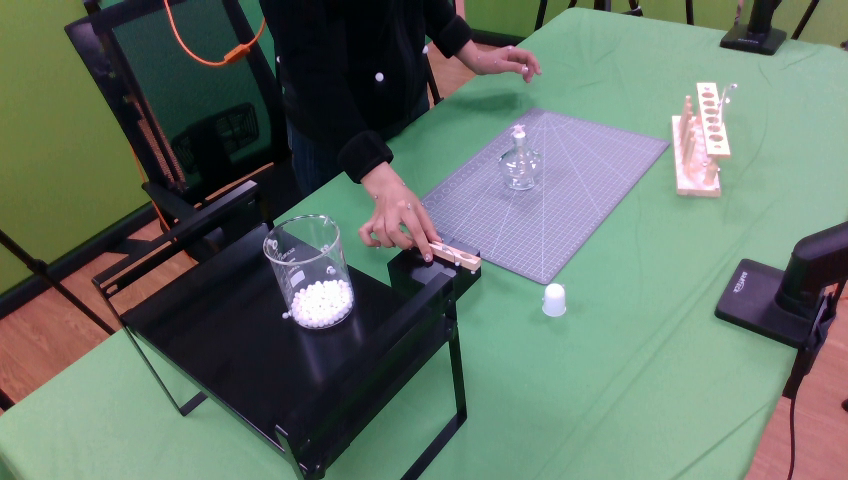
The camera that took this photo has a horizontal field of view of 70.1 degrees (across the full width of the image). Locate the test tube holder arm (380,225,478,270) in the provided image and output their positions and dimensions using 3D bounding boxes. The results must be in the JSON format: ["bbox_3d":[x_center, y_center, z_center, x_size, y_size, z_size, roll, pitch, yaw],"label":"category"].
[{"bbox_3d":[0.004,0.009,0.893,0.177,0.015,0.013,20,33,31],"label":"test tube holder arm"}]

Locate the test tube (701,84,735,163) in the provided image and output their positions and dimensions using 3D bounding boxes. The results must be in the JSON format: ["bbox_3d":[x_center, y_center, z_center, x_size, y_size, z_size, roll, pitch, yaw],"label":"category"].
[{"bbox_3d":[0.483,-0.189,0.996,0.017,0.151,0.017,-2,46,3],"label":"test tube"}]

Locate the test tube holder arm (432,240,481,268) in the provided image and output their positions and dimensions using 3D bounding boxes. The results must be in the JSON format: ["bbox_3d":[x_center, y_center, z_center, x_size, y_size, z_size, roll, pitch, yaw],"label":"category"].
[{"bbox_3d":[0.043,0.020,0.874,0.087,0.015,0.010,21,34,32],"label":"test tube holder arm"}]

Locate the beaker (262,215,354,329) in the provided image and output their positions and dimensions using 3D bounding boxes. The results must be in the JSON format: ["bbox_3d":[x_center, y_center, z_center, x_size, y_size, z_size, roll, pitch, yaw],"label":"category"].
[{"bbox_3d":[-0.112,0.034,0.616,0.073,0.101,0.084,13,44,23],"label":"beaker"}]

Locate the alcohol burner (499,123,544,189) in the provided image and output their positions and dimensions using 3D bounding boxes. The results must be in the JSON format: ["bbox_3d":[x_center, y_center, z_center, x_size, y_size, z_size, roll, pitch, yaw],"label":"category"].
[{"bbox_3d":[0.168,-0.149,1.048,0.078,0.119,0.077,-6,41,5],"label":"alcohol burner"}]

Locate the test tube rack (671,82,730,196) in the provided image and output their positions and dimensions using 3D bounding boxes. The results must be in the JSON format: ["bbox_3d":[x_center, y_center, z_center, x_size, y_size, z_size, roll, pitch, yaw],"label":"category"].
[{"bbox_3d":[0.482,-0.184,1.067,0.066,0.085,0.242,5,42,15],"label":"test tube rack"}]

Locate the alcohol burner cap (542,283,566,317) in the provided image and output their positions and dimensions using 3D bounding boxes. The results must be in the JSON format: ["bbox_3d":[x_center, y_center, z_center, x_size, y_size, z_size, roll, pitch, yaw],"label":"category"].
[{"bbox_3d":[0.181,0.081,0.839,0.034,0.048,0.033,-3,40,3],"label":"alcohol burner cap"}]
